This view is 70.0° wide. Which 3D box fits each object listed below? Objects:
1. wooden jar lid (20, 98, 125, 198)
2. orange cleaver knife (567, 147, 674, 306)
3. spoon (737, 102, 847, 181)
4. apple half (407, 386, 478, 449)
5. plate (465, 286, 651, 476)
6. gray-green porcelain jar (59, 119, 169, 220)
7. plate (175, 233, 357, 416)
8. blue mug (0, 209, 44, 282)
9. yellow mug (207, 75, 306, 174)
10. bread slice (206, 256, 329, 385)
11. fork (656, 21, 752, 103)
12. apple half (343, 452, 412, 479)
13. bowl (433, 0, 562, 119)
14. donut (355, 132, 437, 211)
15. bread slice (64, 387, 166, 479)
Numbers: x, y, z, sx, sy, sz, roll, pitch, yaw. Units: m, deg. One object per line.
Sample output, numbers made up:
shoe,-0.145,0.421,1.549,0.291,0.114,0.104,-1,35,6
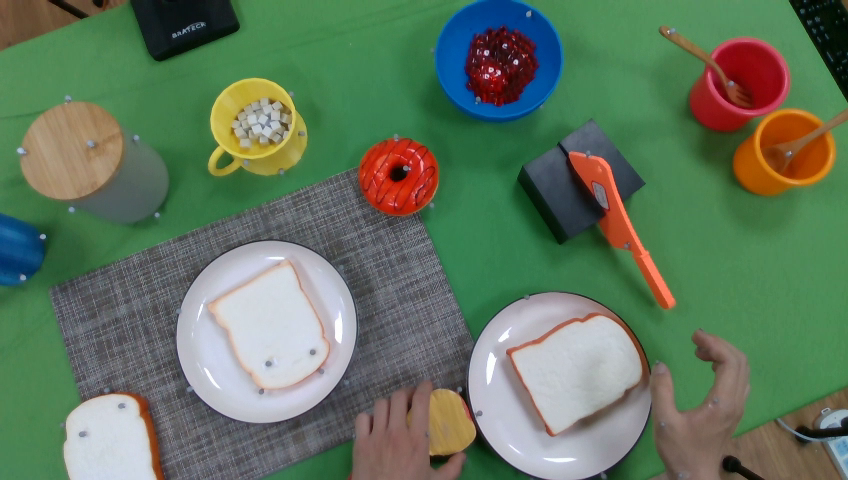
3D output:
wooden jar lid,-0.365,-0.095,0.636,0.108,0.021,0.108,0,78,2
orange cleaver knife,0.225,-0.016,0.700,0.012,0.077,0.212,-34,103,-12
spoon,0.448,-0.129,0.684,0.022,0.194,0.041,-17,73,-48
apple half,0.019,0.198,0.691,0.081,0.032,0.081,0,109,0
plate,0.149,0.157,0.692,0.209,0.038,0.208,0,80,1
gray-green porcelain jar,-0.364,-0.083,0.697,0.106,0.127,0.105,0,79,1
plate,-0.179,0.097,0.703,0.208,0.039,0.207,0,80,1
blue mug,-0.519,0.013,0.691,0.082,0.106,0.116,41,83,8
yellow mug,-0.211,-0.129,0.734,0.099,0.064,0.131,43,84,8
bread slice,-0.172,0.099,0.704,0.107,0.018,0.134,-34,80,-5
fork,0.328,-0.203,0.700,0.209,0.018,0.028,18,76,-39
apple half,-0.056,0.276,0.666,0.074,0.053,0.080,31,82,8
bowl,0.085,-0.209,0.739,0.151,0.077,0.151,0,80,1
donut,-0.033,-0.083,0.731,0.099,0.048,0.098,0,80,1
bread slice,-0.358,0.237,0.691,0.105,0.019,0.131,-15,81,-3
